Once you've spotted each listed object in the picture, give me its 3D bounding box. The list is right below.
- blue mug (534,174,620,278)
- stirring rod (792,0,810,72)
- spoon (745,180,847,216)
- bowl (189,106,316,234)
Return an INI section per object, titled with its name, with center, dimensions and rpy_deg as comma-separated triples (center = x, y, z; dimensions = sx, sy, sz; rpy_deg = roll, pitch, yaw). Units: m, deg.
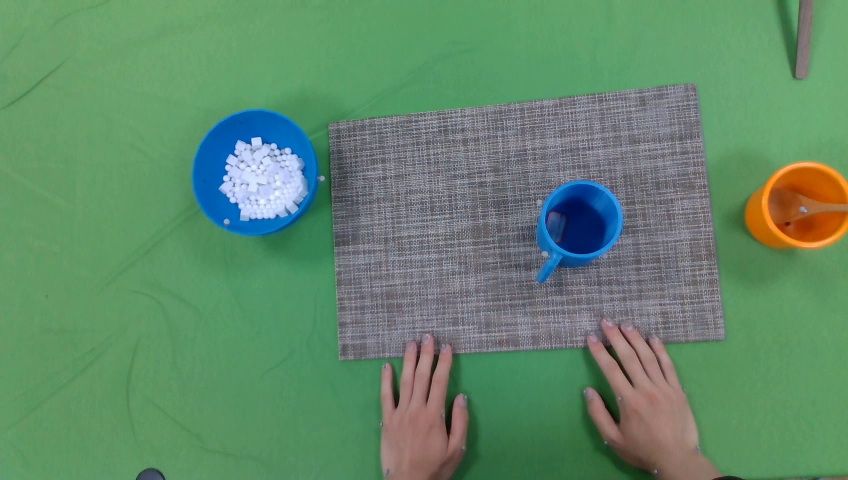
[blue mug]
center = 0.156, -0.007, 0.668
dimensions = 0.082, 0.106, 0.116
rpy_deg = 33, 89, 10
[stirring rod]
center = 0.430, -0.282, 0.686
dimensions = 0.014, 0.006, 0.177
rpy_deg = -3, 103, 4
[spoon]
center = 0.429, -0.039, 0.619
dimensions = 0.022, 0.192, 0.041
rpy_deg = 20, 85, -35
[bowl]
center = -0.196, -0.078, 0.738
dimensions = 0.151, 0.077, 0.151
rpy_deg = -1, 84, 7
